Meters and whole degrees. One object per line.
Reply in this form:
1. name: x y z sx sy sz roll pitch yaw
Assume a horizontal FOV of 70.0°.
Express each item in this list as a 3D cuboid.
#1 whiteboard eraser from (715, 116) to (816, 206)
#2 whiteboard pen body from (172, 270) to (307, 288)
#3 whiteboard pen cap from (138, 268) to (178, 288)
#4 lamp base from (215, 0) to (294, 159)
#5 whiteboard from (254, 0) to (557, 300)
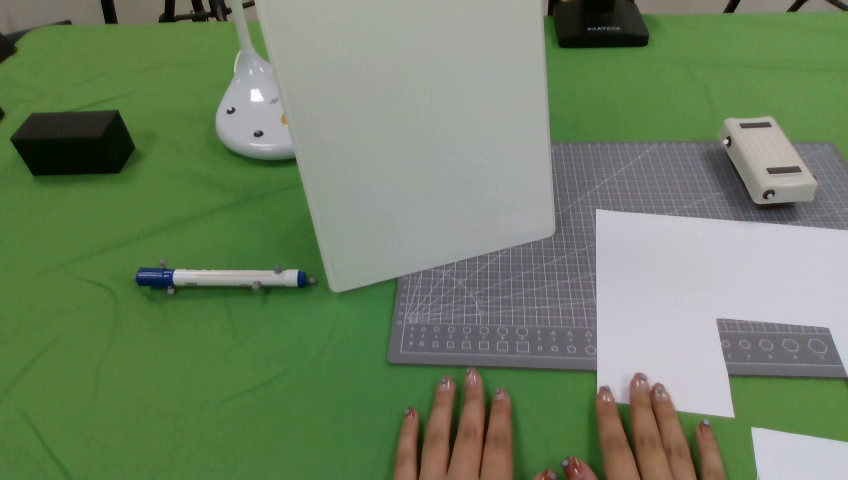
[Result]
1. whiteboard eraser: 0.335 -0.077 0.602 0.055 0.042 0.111 -1 45 1
2. whiteboard pen body: -0.176 0.035 0.540 0.141 0.017 0.017 0 45 -1
3. whiteboard pen cap: -0.235 0.034 0.540 0.033 0.018 0.018 2 45 -3
4. lamp base: -0.179 -0.208 0.671 0.160 0.182 0.177 -36 51 -28
5. whiteboard: -0.018 -0.136 0.542 0.217 0.308 0.142 -14 27 -9
